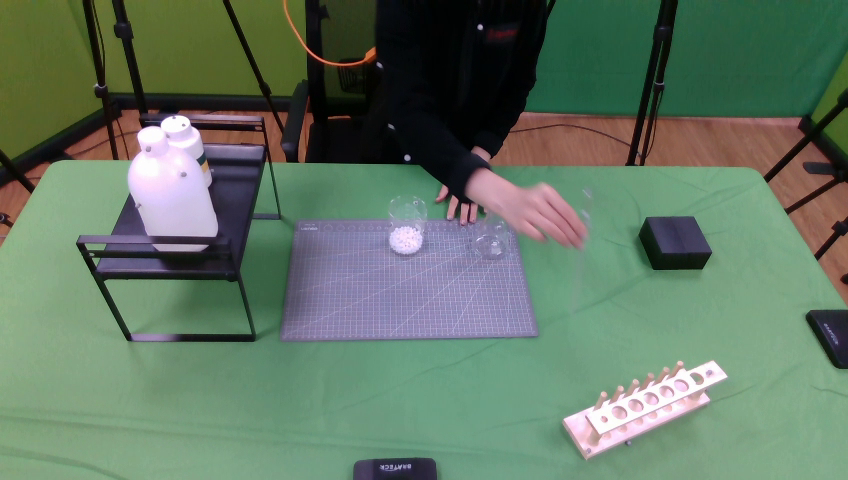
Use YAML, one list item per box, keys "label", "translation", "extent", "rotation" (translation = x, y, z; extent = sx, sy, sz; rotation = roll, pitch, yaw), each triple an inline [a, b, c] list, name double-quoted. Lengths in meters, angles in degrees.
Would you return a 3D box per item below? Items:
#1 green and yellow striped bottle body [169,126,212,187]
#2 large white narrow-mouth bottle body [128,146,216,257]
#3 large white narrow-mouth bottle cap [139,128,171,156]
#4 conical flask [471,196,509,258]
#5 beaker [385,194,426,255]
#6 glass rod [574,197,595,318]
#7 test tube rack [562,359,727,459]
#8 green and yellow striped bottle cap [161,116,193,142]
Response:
- label: "green and yellow striped bottle body"
  translation: [-0.388, -0.139, 0.984]
  extent: [0.063, 0.120, 0.063]
  rotation: [2, 46, -2]
- label: "large white narrow-mouth bottle body"
  translation: [-0.365, -0.072, 0.872]
  extent: [0.102, 0.195, 0.101]
  rotation: [3, 47, -3]
- label: "large white narrow-mouth bottle cap"
  translation: [-0.358, -0.131, 0.808]
  extent: [0.038, 0.024, 0.037]
  rotation: [3, 47, -3]
- label: "conical flask"
  translation: [0.133, -0.028, 1.160]
  extent: [0.075, 0.122, 0.075]
  rotation: [2, 46, -2]
- label: "beaker"
  translation: [-0.033, -0.026, 1.162]
  extent: [0.083, 0.101, 0.074]
  rotation: [29, 51, 21]
- label: "glass rod"
  translation: [0.216, 0.029, 0.820]
  extent: [0.008, 0.200, 0.008]
  rotation: [-1, 34, 1]
- label: "test tube rack"
  translation: [0.341, 0.247, 0.940]
  extent: [0.243, 0.085, 0.066]
  rotation: [-16, 49, -18]
- label: "green and yellow striped bottle cap"
  translation: [-0.387, -0.174, 0.946]
  extent: [0.045, 0.020, 0.045]
  rotation: [3, 44, -3]
